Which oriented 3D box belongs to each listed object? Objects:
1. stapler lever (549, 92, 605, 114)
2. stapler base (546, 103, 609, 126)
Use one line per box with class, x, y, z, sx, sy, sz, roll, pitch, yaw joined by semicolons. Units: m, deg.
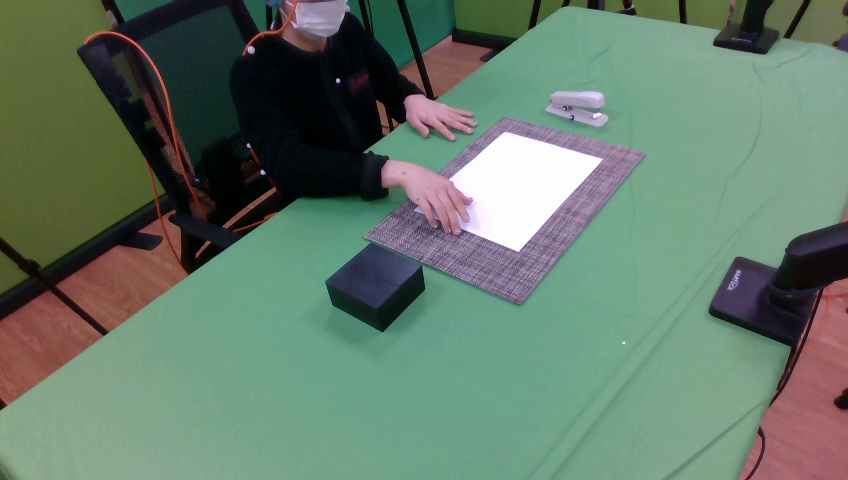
stapler lever;0.309;-0.285;1.220;0.117;0.040;0.027;26;49;35
stapler base;0.314;-0.265;1.235;0.129;0.024;0.041;26;49;35
